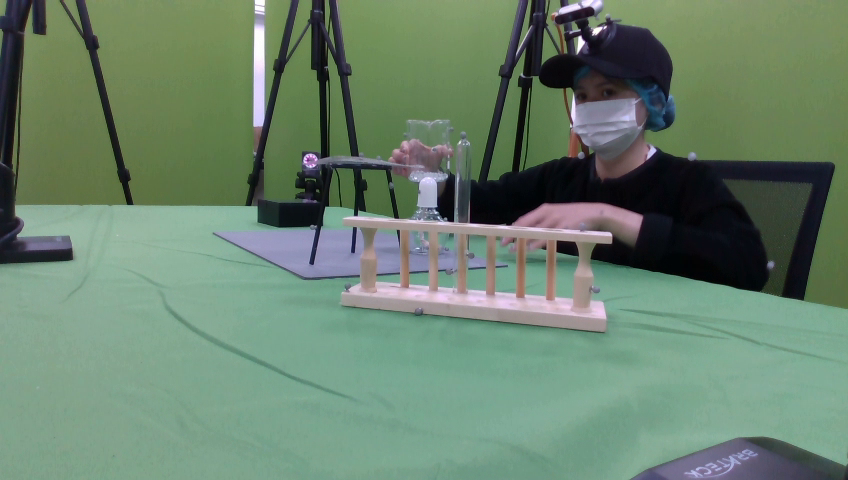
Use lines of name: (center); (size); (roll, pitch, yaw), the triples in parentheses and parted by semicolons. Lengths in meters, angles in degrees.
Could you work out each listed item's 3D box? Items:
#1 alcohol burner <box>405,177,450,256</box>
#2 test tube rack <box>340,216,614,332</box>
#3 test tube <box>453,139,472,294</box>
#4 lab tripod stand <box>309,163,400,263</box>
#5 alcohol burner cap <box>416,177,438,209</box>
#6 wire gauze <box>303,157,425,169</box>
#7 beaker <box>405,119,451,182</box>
alcohol burner: (0.004, -0.036, 0.917); (0.078, 0.119, 0.078); (4, 6, 0)
test tube rack: (0.048, 0.026, 0.568); (0.242, 0.085, 0.067); (4, 7, 13)
test tube: (0.037, -0.021, 0.583); (0.017, 0.150, 0.017); (1, 7, 0)
lab tripod stand: (-0.091, -0.037, 0.813); (0.148, 0.131, 0.148); (1, 6, 0)
alcohol burner cap: (0.005, -0.072, 0.914); (0.034, 0.048, 0.034); (4, 10, 0)
wire gauze: (-0.082, -0.102, 0.799); (0.126, 0.011, 0.121); (-1, 7, -30)
beaker: (0.007, -0.146, 0.987); (0.074, 0.100, 0.084); (-1, 10, -2)
